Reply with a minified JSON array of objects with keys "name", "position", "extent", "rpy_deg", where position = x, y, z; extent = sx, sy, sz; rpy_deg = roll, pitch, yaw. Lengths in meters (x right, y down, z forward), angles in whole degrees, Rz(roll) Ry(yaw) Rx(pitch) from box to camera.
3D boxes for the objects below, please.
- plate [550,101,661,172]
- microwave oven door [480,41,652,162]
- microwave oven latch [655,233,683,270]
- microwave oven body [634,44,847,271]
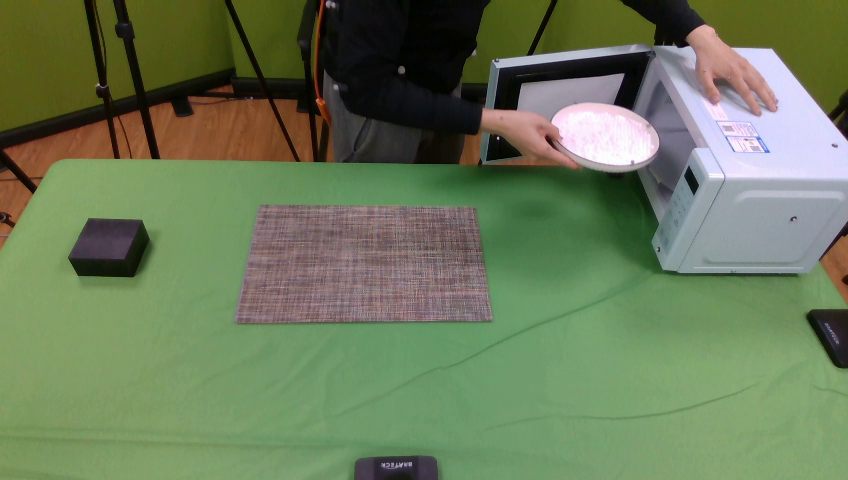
[{"name":"plate","position":[0.344,-0.194,1.161],"extent":[0.209,0.038,0.208],"rpy_deg":[2,45,-2]},{"name":"microwave oven door","position":[0.306,-0.301,1.329],"extent":[0.356,0.245,0.039],"rpy_deg":[-10,47,-13]},{"name":"microwave oven latch","position":[0.473,0.021,1.176],"extent":[0.030,0.029,0.078],"rpy_deg":[2,46,0]},{"name":"microwave oven body","position":[0.619,-0.173,1.234],"extent":[0.326,0.261,0.439],"rpy_deg":[0,46,-3]}]
